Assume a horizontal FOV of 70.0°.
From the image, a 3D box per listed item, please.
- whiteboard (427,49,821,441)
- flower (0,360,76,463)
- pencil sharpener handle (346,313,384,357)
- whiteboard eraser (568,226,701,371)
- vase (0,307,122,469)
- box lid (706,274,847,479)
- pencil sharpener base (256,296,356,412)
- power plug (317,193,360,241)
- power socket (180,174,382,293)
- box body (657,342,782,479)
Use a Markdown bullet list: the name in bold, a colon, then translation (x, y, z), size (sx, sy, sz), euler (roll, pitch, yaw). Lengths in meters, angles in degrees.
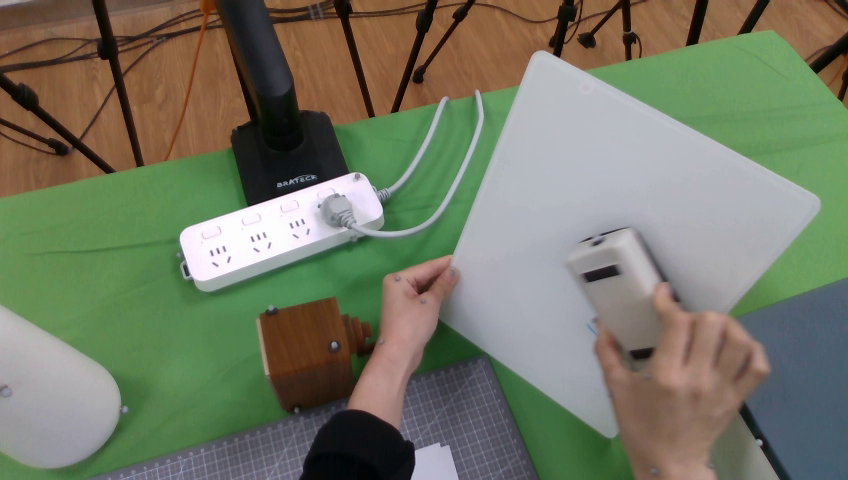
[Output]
- **whiteboard**: translation (0.164, -0.003, 0.552), size (0.216, 0.307, 0.143), euler (34, 44, 16)
- **flower**: translation (-0.314, 0.055, 0.414), size (0.038, 0.365, 0.043), euler (-27, 46, -26)
- **pencil sharpener handle**: translation (-0.052, 0.087, 0.549), size (0.031, 0.068, 0.035), euler (-13, 60, -12)
- **whiteboard eraser**: translation (0.161, 0.045, 0.463), size (0.113, 0.055, 0.042), euler (58, 43, -10)
- **vase**: translation (-0.319, 0.114, 0.474), size (0.098, 0.201, 0.097), euler (1, 59, -1)
- **box lid**: translation (0.393, 0.181, 0.417), size (0.264, 0.015, 0.367), euler (-16, 61, -13)
- **pencil sharpener base**: translation (-0.101, 0.104, 0.548), size (0.077, 0.108, 0.061), euler (-13, 60, -12)
- **power plug**: translation (-0.091, -0.017, 0.638), size (0.035, 0.053, 0.072), euler (-12, 62, -10)
- **power socket**: translation (-0.151, -0.010, 0.656), size (0.227, 0.033, 0.071), euler (-20, 63, -16)
- **box body**: translation (0.390, 0.222, 0.480), size (0.254, 0.161, 0.360), euler (-16, 62, -13)
